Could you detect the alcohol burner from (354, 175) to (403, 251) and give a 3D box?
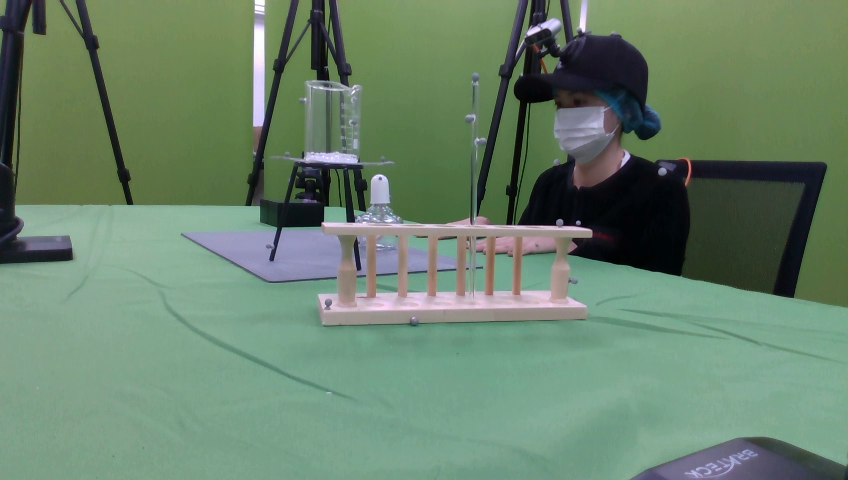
[{"bbox_3d":[-0.072,-0.042,0.944,0.078,0.119,0.078,1,9,0],"label":"alcohol burner"}]

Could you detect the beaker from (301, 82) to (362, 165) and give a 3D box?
[{"bbox_3d":[-0.117,-0.147,0.776,0.074,0.100,0.083,-3,10,-38],"label":"beaker"}]

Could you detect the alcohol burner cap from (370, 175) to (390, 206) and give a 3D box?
[{"bbox_3d":[-0.069,-0.077,0.940,0.034,0.048,0.034,-1,6,0],"label":"alcohol burner cap"}]

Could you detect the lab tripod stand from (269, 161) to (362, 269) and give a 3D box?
[{"bbox_3d":[-0.125,-0.036,0.794,0.148,0.131,0.148,5,7,0],"label":"lab tripod stand"}]

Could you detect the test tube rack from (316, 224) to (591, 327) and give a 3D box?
[{"bbox_3d":[0.026,0.028,0.555,0.243,0.085,0.066,1,7,-14],"label":"test tube rack"}]

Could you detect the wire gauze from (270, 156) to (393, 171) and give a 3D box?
[{"bbox_3d":[-0.122,-0.100,0.786,0.122,0.011,0.124,-5,14,-38],"label":"wire gauze"}]

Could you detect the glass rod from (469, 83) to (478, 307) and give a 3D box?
[{"bbox_3d":[0.043,-0.033,0.523,0.008,0.199,0.008,-1,14,1],"label":"glass rod"}]
